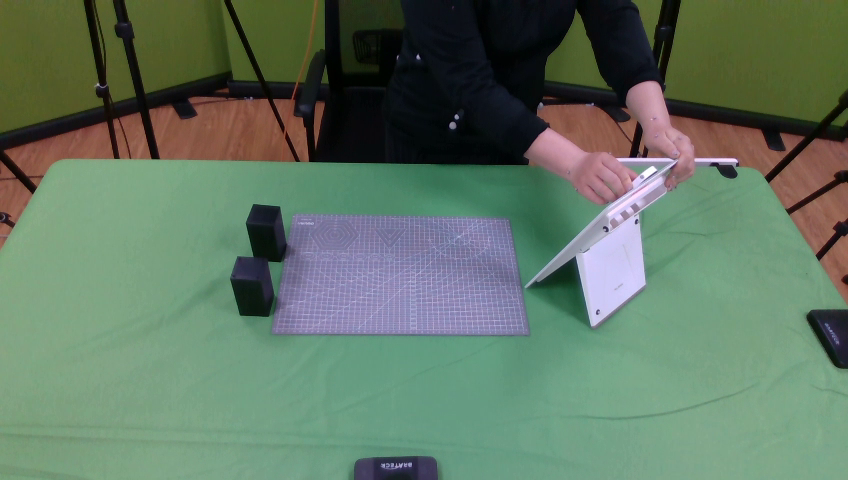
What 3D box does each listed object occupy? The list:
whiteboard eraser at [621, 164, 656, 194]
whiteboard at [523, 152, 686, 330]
[{"bbox_3d":[0.351,-0.089,1.009,0.041,0.101,0.019,-35,73,-31],"label":"whiteboard eraser"},{"bbox_3d":[0.347,0.025,1.047,0.217,0.306,0.143,-29,73,-29],"label":"whiteboard"}]
